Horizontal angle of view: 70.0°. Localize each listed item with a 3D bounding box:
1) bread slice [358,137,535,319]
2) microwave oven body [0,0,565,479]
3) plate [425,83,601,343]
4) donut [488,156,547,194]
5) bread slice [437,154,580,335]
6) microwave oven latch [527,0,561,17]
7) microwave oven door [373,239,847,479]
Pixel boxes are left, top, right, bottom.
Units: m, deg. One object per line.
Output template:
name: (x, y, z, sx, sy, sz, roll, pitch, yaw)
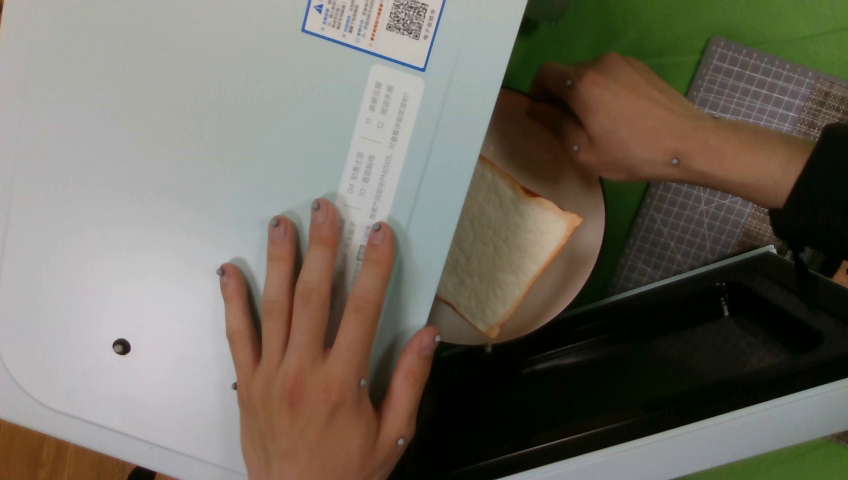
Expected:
bread slice: (0.009, -0.013, 0.485, 0.105, 0.019, 0.132, -37, 94, 9)
microwave oven body: (-0.095, -0.088, 0.443, 0.326, 0.259, 0.443, 18, 104, 1)
plate: (0.032, -0.022, 0.482, 0.207, 0.039, 0.208, 1, 103, 4)
donut: (0.048, -0.014, 0.459, 0.099, 0.048, 0.099, 0, 98, 1)
bread slice: (0.023, -0.010, 0.426, 0.134, 0.018, 0.107, 32, 104, 6)
microwave oven latch: (0.108, -0.226, 0.492, 0.030, 0.029, 0.079, 19, 104, 1)
microwave oven door: (0.138, 0.099, 0.456, 0.355, 0.243, 0.039, -20, 99, 9)
